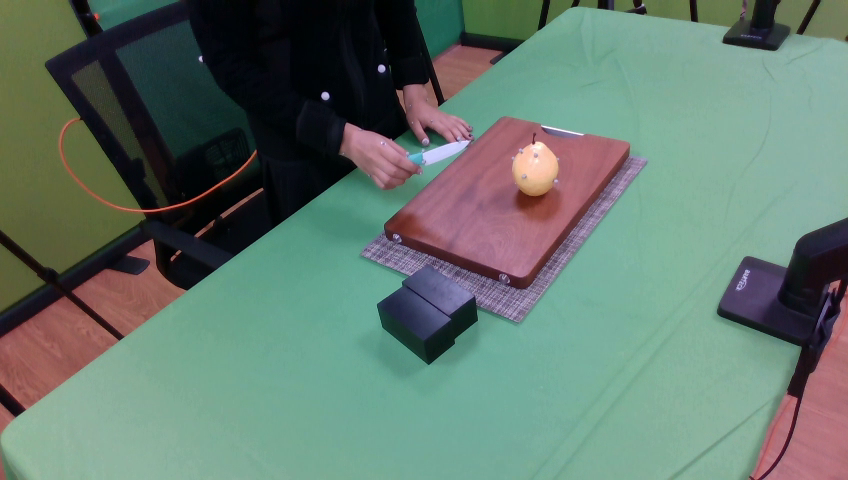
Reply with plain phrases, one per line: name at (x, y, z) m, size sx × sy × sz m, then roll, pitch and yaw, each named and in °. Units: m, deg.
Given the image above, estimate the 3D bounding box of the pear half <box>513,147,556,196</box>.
pear half at (0.178, -0.106, 0.977) m, size 0.070 × 0.088 × 0.031 m, roll 7°, pitch 43°, yaw 12°

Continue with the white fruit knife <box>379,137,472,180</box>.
white fruit knife at (-0.002, -0.132, 0.970) m, size 0.206 × 0.027 × 0.016 m, roll -14°, pitch 31°, yaw 42°

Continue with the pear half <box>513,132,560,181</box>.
pear half at (0.186, -0.136, 0.996) m, size 0.076 × 0.110 × 0.056 m, roll 6°, pitch 42°, yaw 13°
